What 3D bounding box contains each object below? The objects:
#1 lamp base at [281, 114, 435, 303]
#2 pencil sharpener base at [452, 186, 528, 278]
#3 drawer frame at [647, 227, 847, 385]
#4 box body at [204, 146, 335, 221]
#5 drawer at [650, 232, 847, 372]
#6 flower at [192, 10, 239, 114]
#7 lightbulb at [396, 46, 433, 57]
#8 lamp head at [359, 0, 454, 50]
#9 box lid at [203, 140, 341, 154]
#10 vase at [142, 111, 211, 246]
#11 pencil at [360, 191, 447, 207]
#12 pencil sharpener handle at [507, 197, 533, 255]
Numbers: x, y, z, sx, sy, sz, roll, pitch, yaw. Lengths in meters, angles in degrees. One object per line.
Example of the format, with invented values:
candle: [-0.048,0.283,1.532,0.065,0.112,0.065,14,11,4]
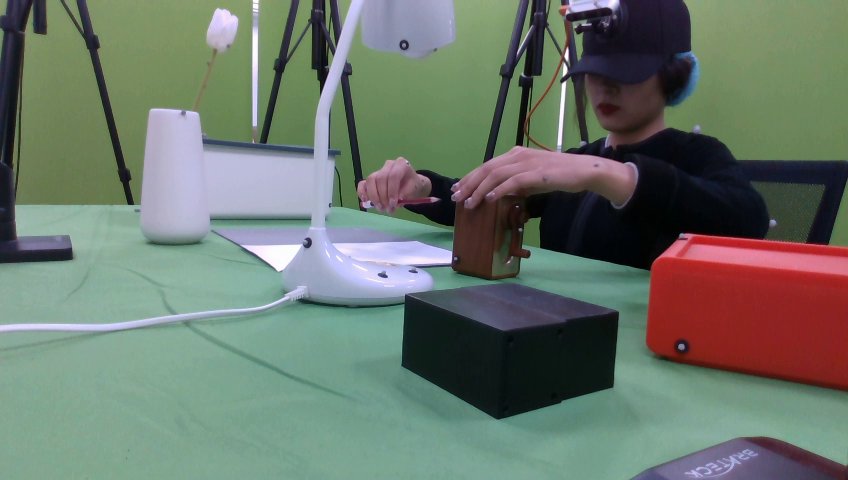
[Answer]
lamp base: [-0.071,-0.035,0.614,0.160,0.180,0.180,5,10,27]
pencil sharpener base: [0.085,-0.012,0.763,0.062,0.107,0.076,-4,12,-45]
drawer frame: [0.303,0.043,0.495,0.201,0.082,0.214,6,9,26]
box body: [-0.411,-0.135,1.386,0.366,0.160,0.253,-2,9,-29]
drawer: [0.303,0.044,0.499,0.194,0.073,0.212,6,9,27]
flower: [-0.354,-0.174,0.915,0.038,0.361,0.044,18,-4,12]
lightbulb: [-0.017,-0.265,0.692,0.059,0.108,0.059,-10,28,5]
lamp head: [-0.024,-0.283,0.674,0.112,0.123,0.112,-3,38,3]
box lid: [-0.396,-0.213,1.373,0.373,0.015,0.262,-1,9,-29]
vase: [-0.378,-0.093,0.920,0.098,0.200,0.098,2,9,0]
pencil: [-0.034,-0.061,0.898,0.012,0.012,0.193,-5,2,-43]
pencil sharpener handle: [0.120,-0.016,0.725,0.030,0.067,0.036,12,5,44]
